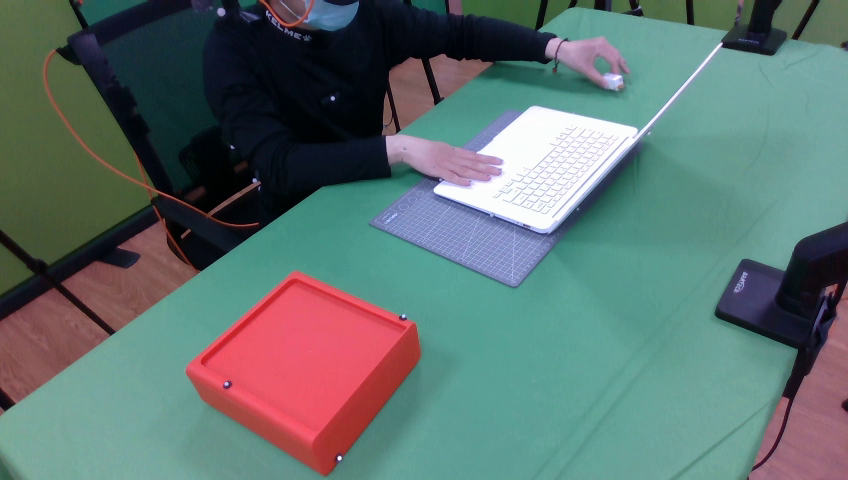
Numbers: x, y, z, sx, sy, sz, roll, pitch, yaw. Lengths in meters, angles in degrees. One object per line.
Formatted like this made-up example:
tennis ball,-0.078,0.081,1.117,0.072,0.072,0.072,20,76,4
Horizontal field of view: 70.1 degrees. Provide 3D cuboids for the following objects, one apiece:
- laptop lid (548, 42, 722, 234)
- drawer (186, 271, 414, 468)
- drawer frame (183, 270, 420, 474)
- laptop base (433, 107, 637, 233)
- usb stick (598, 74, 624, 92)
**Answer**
laptop lid,0.335,-0.161,0.956,0.013,0.241,0.358,42,54,8
drawer,-0.151,0.153,0.767,0.210,0.073,0.195,20,46,28
drawer frame,-0.149,0.153,0.767,0.212,0.083,0.202,20,46,27
laptop base,0.210,-0.142,1.111,0.233,0.023,0.355,21,48,33
usb stick,0.400,-0.334,1.289,0.021,0.027,0.058,-33,43,-17
